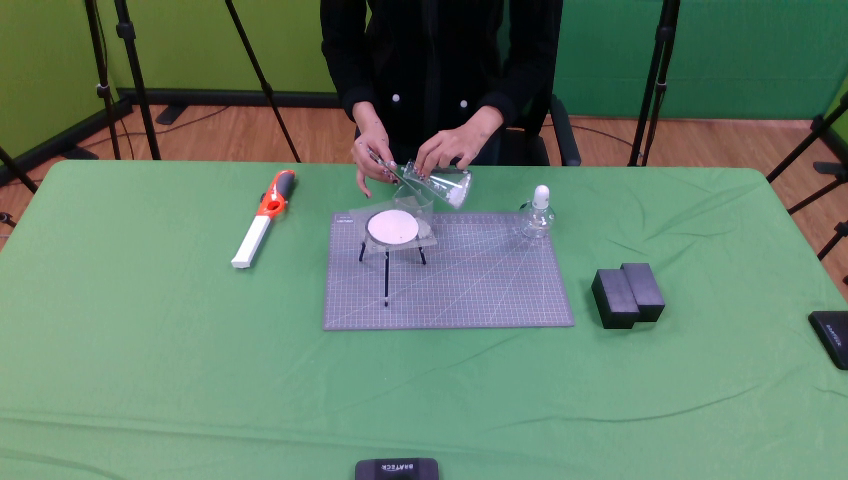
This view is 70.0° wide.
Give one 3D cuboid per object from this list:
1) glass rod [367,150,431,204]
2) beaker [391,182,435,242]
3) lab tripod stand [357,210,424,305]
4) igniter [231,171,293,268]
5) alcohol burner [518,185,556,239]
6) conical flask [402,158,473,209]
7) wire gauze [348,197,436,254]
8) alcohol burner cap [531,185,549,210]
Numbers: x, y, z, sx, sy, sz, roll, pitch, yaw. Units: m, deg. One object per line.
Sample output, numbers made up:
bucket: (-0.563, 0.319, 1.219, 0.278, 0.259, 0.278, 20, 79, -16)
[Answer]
glass rod: (-0.042, -0.112, 1.117, 0.008, 0.201, 0.008, -17, 57, 28)
beaker: (-0.023, -0.053, 1.192, 0.084, 0.101, 0.073, -2, 46, -6)
lab tripod stand: (-0.060, 0.020, 1.094, 0.148, 0.132, 0.147, 3, 44, -2)
igniter: (-0.321, -0.051, 1.220, 0.057, 0.025, 0.275, 1, 45, 11)
alcohol burner: (0.227, -0.061, 1.209, 0.078, 0.120, 0.077, 1, 44, -1)
conical flask: (0.022, -0.111, 1.104, 0.122, 0.075, 0.075, 21, 47, -1)
wire gauze: (-0.056, -0.026, 1.045, 0.125, 0.011, 0.120, -12, 47, -17)
alcohol burner cap: (0.228, -0.085, 1.183, 0.034, 0.048, 0.033, -1, 48, 1)
